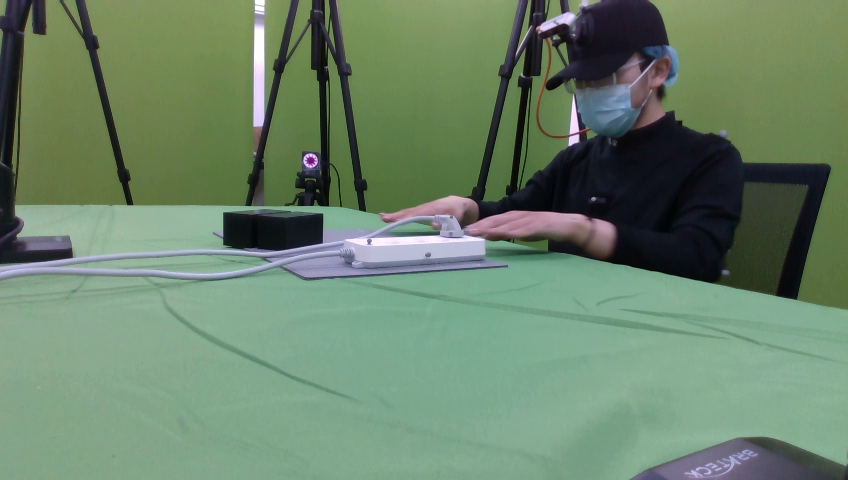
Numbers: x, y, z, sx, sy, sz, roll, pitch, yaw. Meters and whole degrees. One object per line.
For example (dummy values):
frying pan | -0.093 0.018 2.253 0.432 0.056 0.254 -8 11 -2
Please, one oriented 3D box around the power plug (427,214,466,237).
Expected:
power plug | 0.036 -0.013 0.911 0.035 0.052 0.072 -2 3 -24

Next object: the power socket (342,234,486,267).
power socket | -0.009 0.012 0.845 0.228 0.032 0.072 -3 8 -36
